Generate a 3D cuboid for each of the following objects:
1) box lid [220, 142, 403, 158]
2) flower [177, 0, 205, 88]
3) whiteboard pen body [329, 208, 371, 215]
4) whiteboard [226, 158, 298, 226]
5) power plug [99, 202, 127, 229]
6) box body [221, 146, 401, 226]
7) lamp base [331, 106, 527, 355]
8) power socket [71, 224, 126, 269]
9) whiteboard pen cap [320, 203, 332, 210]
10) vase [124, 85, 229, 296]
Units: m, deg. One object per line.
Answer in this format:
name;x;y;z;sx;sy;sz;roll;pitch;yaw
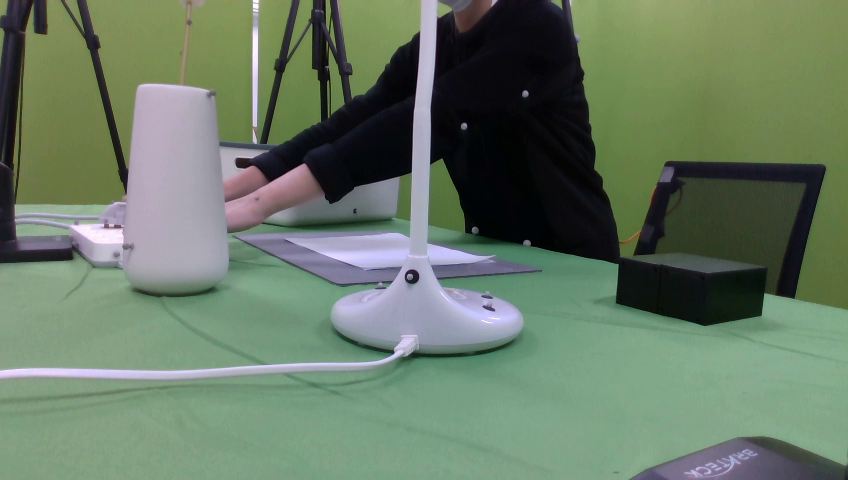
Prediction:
box lid;-0.252;-0.202;1.368;0.262;0.015;0.373;9;9;36
flower;-0.243;-0.131;0.609;0.044;0.361;0.038;-5;-12;11
whiteboard pen body;-0.189;-0.073;1.522;0.140;0.017;0.017;3;6;37
whiteboard;-0.265;-0.116;1.372;0.216;0.143;0.307;4;7;35
power plug;-0.414;-0.026;0.848;0.073;0.052;0.035;5;5;-28
box body;-0.254;-0.128;1.379;0.253;0.160;0.366;8;9;36
lamp base;0.006;-0.012;0.478;0.161;0.180;0.179;2;10;2
power socket;-0.409;0.004;0.793;0.072;0.032;0.225;-2;8;-37
whiteboard pen cap;-0.247;-0.084;1.531;0.033;0.018;0.018;9;10;39
vase;-0.244;-0.047;0.598;0.098;0.200;0.098;3;9;0
